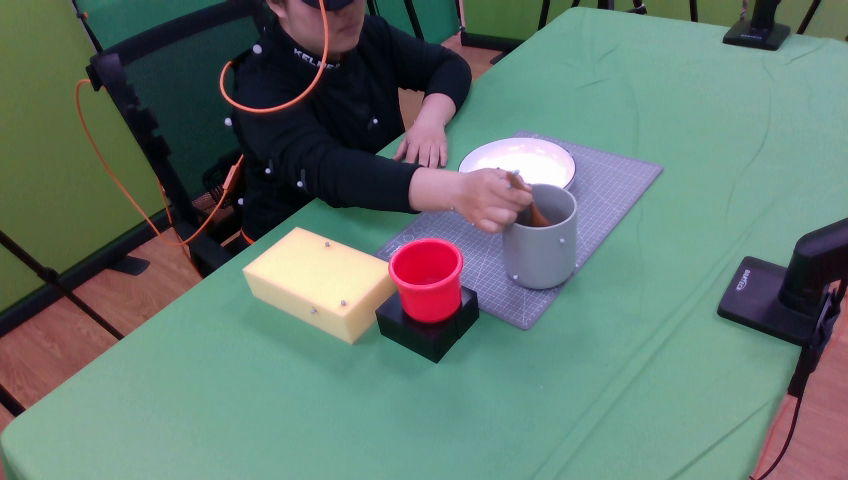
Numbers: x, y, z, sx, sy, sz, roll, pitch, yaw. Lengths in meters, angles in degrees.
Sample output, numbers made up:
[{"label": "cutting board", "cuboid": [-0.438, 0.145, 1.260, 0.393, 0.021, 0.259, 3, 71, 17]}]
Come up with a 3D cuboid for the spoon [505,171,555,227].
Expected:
[{"label": "spoon", "cuboid": [0.146, -0.049, 0.827, 0.041, 0.195, 0.021, 8, 69, 31]}]

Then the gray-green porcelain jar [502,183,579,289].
[{"label": "gray-green porcelain jar", "cuboid": [0.167, -0.001, 0.866, 0.106, 0.127, 0.105, -5, 40, 5]}]

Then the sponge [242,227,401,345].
[{"label": "sponge", "cuboid": [-0.153, 0.063, 0.907, 0.205, 0.061, 0.118, 19, 48, 30]}]

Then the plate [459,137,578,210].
[{"label": "plate", "cuboid": [0.166, -0.113, 1.069, 0.207, 0.039, 0.206, -5, 40, 5]}]
